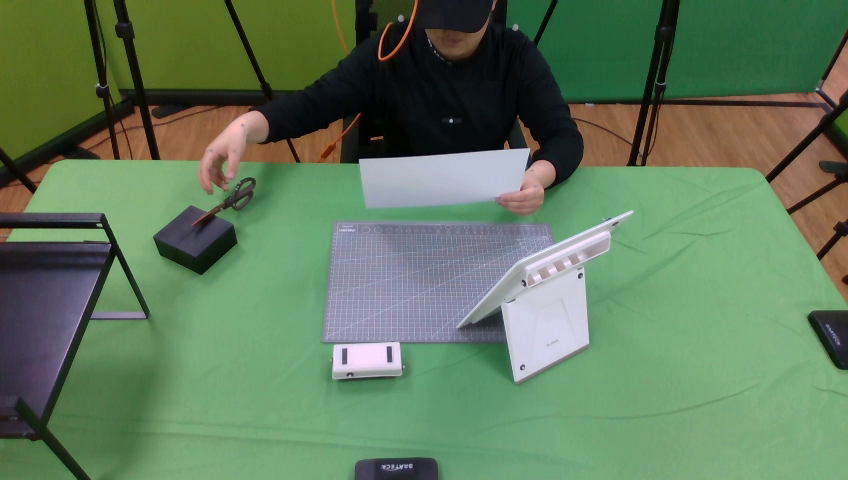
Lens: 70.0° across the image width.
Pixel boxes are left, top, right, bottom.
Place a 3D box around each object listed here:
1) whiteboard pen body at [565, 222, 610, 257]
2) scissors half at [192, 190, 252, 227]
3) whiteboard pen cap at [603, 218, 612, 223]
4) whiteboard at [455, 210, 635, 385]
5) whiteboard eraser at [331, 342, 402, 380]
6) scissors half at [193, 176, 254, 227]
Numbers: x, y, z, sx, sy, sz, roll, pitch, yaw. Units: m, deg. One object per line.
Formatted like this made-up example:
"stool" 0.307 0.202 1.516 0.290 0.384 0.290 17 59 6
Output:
"whiteboard pen body" 0.335 -0.004 1.228 0.141 0.017 0.017 -33 56 -29
"scissors half" -0.393 -0.060 1.187 0.013 0.040 0.175 25 29 12
"whiteboard pen cap" 0.379 -0.031 1.255 0.033 0.018 0.018 -33 57 -30
"whiteboard" 0.211 0.111 0.955 0.217 0.306 0.143 -21 71 -23
"whiteboard eraser" -0.094 0.198 0.986 0.113 0.042 0.055 -2 44 -6
"scissors half" -0.388 -0.075 1.174 0.013 0.040 0.174 29 47 8
